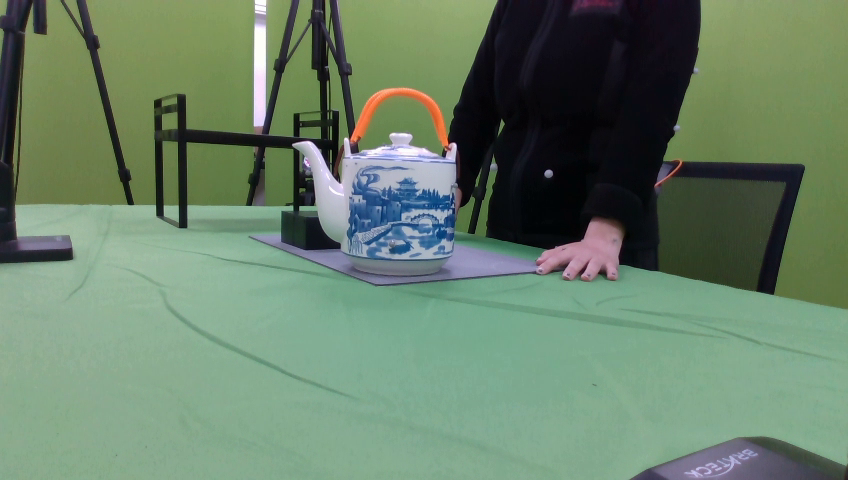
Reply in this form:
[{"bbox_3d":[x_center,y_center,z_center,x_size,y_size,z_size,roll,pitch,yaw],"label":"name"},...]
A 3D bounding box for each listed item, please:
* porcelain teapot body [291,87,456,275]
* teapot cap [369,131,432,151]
[{"bbox_3d":[-0.061,-0.076,0.754,0.206,0.225,0.145,0,8,-12],"label":"porcelain teapot body"},{"bbox_3d":[-0.030,-0.114,0.754,0.085,0.044,0.085,0,9,0],"label":"teapot cap"}]
